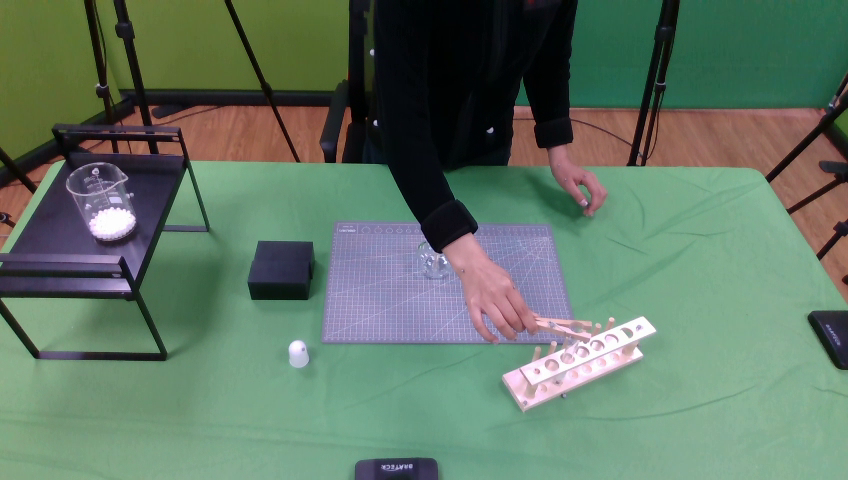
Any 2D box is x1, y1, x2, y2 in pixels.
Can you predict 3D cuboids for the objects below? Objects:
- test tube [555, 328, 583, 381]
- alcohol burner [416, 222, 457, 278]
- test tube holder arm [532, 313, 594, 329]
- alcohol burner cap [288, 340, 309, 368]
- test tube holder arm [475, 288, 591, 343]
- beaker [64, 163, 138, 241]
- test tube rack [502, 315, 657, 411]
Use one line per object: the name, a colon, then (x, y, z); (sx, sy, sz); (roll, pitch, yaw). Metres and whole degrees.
test tube: (0.220, 0.177, 0.926); (0.017, 0.151, 0.017); (0, 52, 0)
alcohol burner: (0.024, 0.014, 1.116); (0.078, 0.120, 0.077); (1, 45, -1)
test tube holder arm: (0.198, 0.115, 0.869); (0.088, 0.015, 0.010); (7, 72, 10)
alcohol burner cap: (-0.207, 0.183, 0.991); (0.034, 0.048, 0.033); (2, 47, -2)
test tube holder arm: (0.155, 0.108, 0.877); (0.178, 0.015, 0.013); (22, 74, 14)
beaker: (-0.477, -0.055, 0.910); (0.084, 0.101, 0.073); (-9, 48, -13)
test tube rack: (0.253, 0.186, 0.988); (0.242, 0.085, 0.066); (-18, 50, -20)
